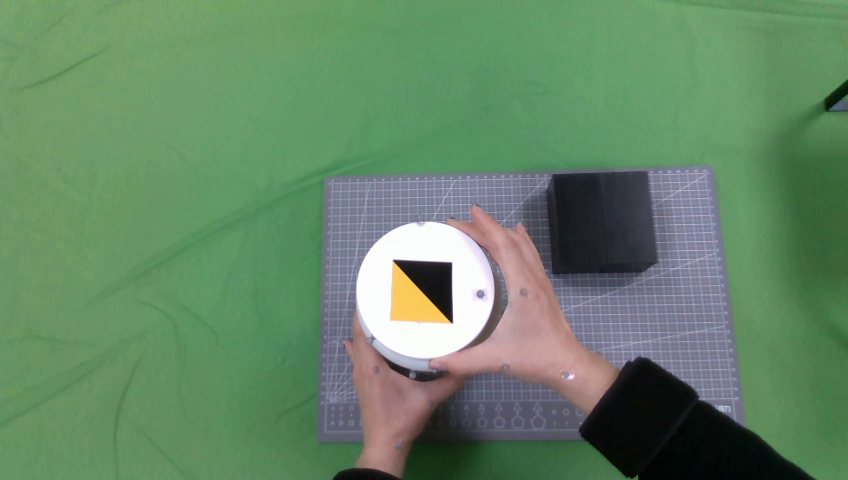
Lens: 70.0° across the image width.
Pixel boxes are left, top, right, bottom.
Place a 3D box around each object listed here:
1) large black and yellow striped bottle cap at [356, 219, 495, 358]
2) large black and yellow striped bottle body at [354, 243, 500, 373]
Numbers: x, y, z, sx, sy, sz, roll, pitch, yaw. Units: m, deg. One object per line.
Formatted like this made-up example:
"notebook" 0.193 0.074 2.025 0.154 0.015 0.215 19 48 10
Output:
"large black and yellow striped bottle cap" 0.001 0.039 0.499 0.115 0.019 0.114 -1 77 5
"large black and yellow striped bottle body" 0.005 0.059 0.582 0.131 0.185 0.130 -1 77 3
